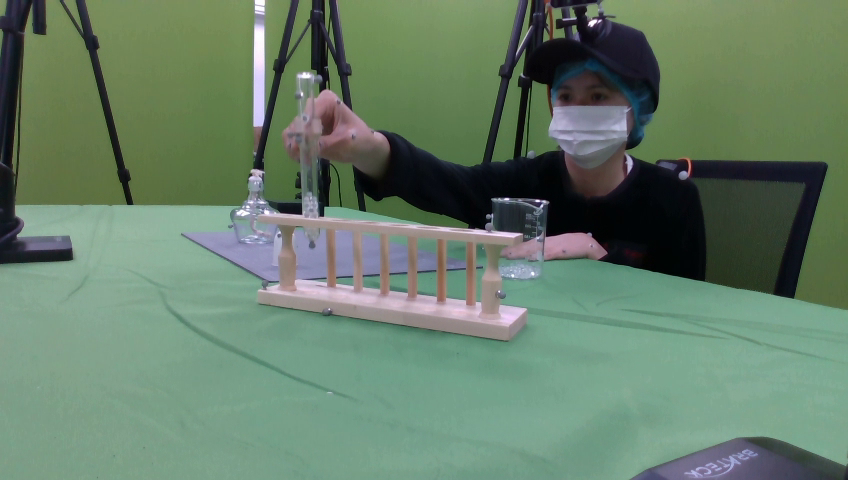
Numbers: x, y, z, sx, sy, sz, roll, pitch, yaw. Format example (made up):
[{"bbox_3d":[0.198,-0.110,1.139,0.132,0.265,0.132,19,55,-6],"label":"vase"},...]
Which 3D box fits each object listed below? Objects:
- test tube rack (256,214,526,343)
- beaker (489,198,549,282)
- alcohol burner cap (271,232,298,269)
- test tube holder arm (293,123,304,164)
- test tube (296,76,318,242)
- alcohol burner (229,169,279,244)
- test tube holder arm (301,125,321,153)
[{"bbox_3d":[-0.032,0.027,0.547,0.241,0.085,0.067,6,8,22],"label":"test tube rack"},{"bbox_3d":[0.120,-0.001,0.768,0.074,0.100,0.083,-1,9,-25],"label":"beaker"},{"bbox_3d":[-0.175,0.012,0.760,0.034,0.048,0.034,2,8,0],"label":"alcohol burner cap"},{"bbox_3d":[-0.126,-0.095,0.612,0.013,0.015,0.178,7,-2,-13],"label":"test tube holder arm"},{"bbox_3d":[-0.106,-0.072,0.549,0.017,0.150,0.017,-1,6,0],"label":"test tube"},{"bbox_3d":[-0.268,-0.053,0.958,0.078,0.119,0.078,2,6,0],"label":"alcohol burner"},{"bbox_3d":[-0.109,-0.094,0.570,0.010,0.015,0.087,7,-2,-19],"label":"test tube holder arm"}]
